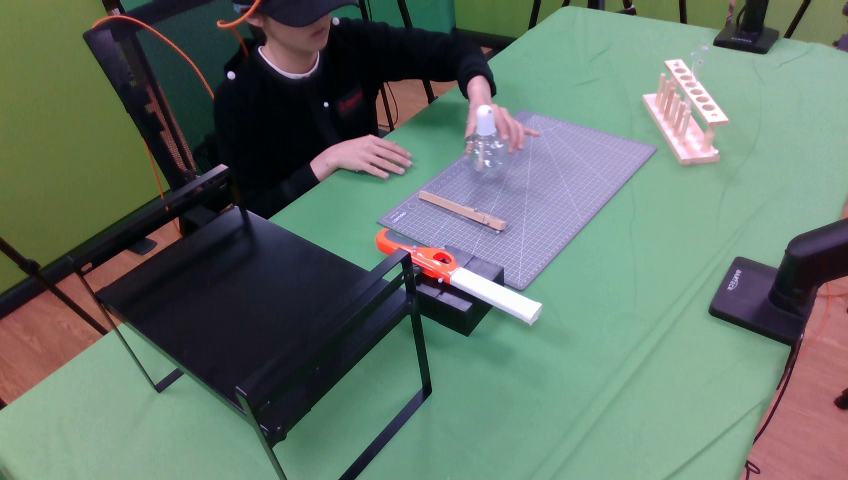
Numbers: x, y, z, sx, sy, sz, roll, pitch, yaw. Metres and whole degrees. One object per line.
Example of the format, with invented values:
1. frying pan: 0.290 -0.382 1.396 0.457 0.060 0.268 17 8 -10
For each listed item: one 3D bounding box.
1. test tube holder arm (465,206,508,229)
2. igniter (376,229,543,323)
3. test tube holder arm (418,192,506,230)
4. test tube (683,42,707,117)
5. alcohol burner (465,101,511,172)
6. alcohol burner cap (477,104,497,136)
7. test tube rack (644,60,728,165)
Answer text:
1. test tube holder arm: 0.100 -0.037 1.005 0.087 0.015 0.010 23 13 32
2. igniter: 0.038 0.044 0.843 0.274 0.025 0.057 25 47 29
3. test tube holder arm: 0.061 -0.052 1.024 0.177 0.015 0.013 22 13 31
4. test tube: 0.497 -0.292 1.114 0.017 0.151 0.017 -4 44 4
5. alcohol burner: 0.104 -0.174 1.001 0.078 0.119 0.077 -6 40 5
6. alcohol burner cap: 0.101 -0.197 0.981 0.034 0.048 0.033 -6 41 6
7. test tube rack: 0.485 -0.246 1.140 0.067 0.085 0.241 -5 41 4
